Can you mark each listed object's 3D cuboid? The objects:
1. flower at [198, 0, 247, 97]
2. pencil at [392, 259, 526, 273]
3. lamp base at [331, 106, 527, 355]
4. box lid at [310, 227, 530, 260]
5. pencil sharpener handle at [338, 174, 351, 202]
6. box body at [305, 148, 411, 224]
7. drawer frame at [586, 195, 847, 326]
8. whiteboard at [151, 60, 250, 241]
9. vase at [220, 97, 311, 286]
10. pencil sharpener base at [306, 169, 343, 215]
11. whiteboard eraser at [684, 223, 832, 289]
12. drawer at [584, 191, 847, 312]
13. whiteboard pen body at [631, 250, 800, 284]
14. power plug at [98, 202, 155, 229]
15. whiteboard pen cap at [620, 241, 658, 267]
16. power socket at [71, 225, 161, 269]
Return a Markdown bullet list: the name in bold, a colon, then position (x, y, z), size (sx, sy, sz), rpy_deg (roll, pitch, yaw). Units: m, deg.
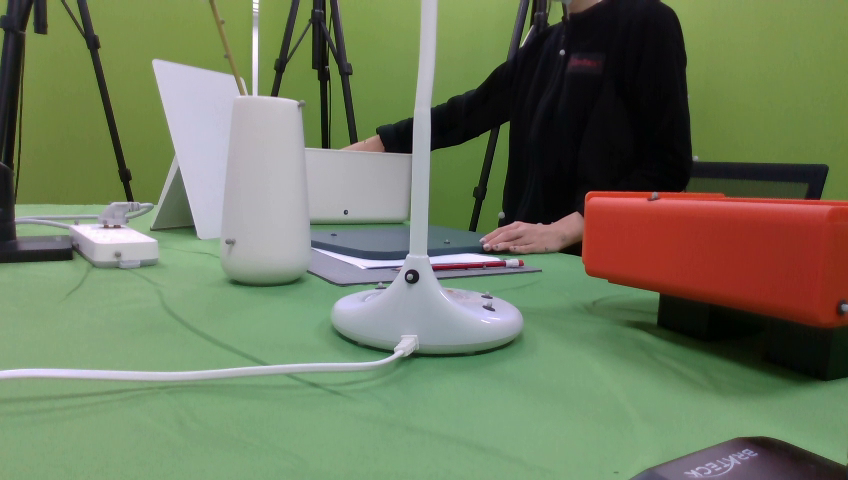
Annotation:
- **flower**: position (-0.187, -0.133, 0.648), size (0.038, 0.362, 0.044), rpy_deg (0, 22, 43)
- **pencil**: position (0.049, 0.035, 0.782), size (0.195, 0.012, 0.012), rpy_deg (-3, 9, -25)
- **lamp base**: position (0.006, -0.012, 0.478), size (0.161, 0.180, 0.179), rpy_deg (2, 10, 2)
- **box lid**: position (-0.024, 0.001, 1.023), size (0.374, 0.015, 0.262), rpy_deg (-4, 9, -44)
- **pencil sharpener handle**: position (-0.190, -0.126, 1.459), size (0.031, 0.067, 0.036), rpy_deg (-1, 10, -30)
- **box body**: position (-0.233, -0.127, 1.374), size (0.366, 0.160, 0.253), rpy_deg (-2, 8, -29)
- **drawer frame**: position (0.284, 0.004, 0.508), size (0.203, 0.082, 0.212), rpy_deg (-1, 6, -28)
- **whiteboard**: position (-0.408, -0.140, 1.094), size (0.143, 0.305, 0.218), rpy_deg (-15, 0, 25)
- **vase**: position (-0.172, -0.052, 0.662), size (0.098, 0.200, 0.098), rpy_deg (3, 8, 0)
- **pencil sharpener base**: position (-0.234, -0.113, 1.434), size (0.077, 0.107, 0.061), rpy_deg (-1, 6, -30)
- **whiteboard eraser**: position (0.305, 0.013, 0.558), size (0.056, 0.042, 0.112), rpy_deg (-9, 19, -30)
- **drawer**: position (0.280, 0.001, 0.513), size (0.195, 0.073, 0.211), rpy_deg (0, 8, -28)
- **whiteboard pen body**: position (0.239, 0.020, 0.512), size (0.017, 0.017, 0.140), rpy_deg (-4, 8, -41)
- **power plug**: position (-0.416, -0.027, 0.848), size (0.073, 0.052, 0.035), rpy_deg (0, 8, -28)
- **whiteboard pen cap**: position (0.199, 0.013, 0.557), size (0.018, 0.018, 0.033), rpy_deg (-4, 17, -40)
- **power socket**: position (-0.408, 0.004, 0.793), size (0.072, 0.032, 0.225), rpy_deg (-2, 8, -38)
